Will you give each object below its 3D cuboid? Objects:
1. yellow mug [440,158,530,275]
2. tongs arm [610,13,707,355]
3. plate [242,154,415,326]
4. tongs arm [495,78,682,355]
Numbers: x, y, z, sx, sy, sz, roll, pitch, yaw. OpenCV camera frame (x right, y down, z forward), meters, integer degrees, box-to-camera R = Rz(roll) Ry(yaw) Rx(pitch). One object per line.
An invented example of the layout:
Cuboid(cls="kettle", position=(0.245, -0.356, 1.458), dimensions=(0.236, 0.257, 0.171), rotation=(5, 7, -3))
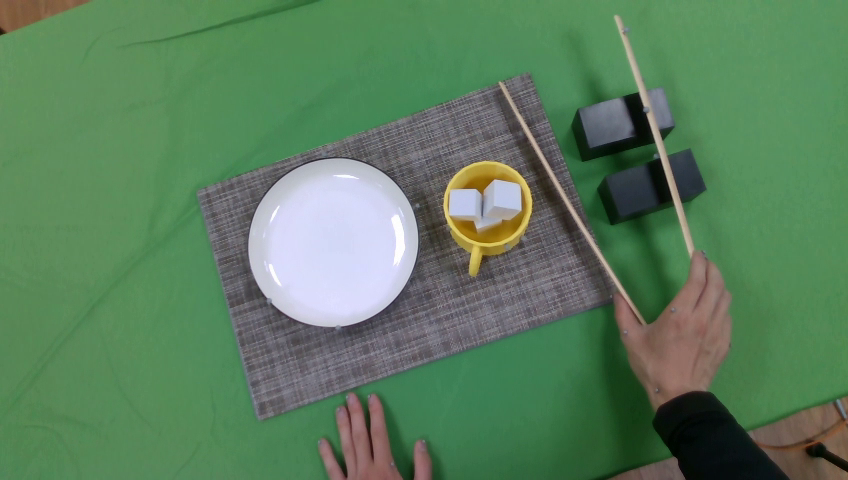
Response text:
Cuboid(cls="yellow mug", position=(0.067, -0.023, 0.704), dimensions=(0.100, 0.064, 0.130), rotation=(13, 82, 6))
Cuboid(cls="tongs arm", position=(0.250, -0.066, 0.674), dimensions=(0.050, 0.026, 0.383), rotation=(-19, 82, 22))
Cuboid(cls="plate", position=(-0.112, 0.001, 0.731), dimensions=(0.207, 0.039, 0.207), rotation=(-1, 81, 5))
Cuboid(cls="tongs arm", position=(0.182, -0.034, 0.706), dimensions=(0.028, 0.028, 0.385), rotation=(-32, 77, 16))
